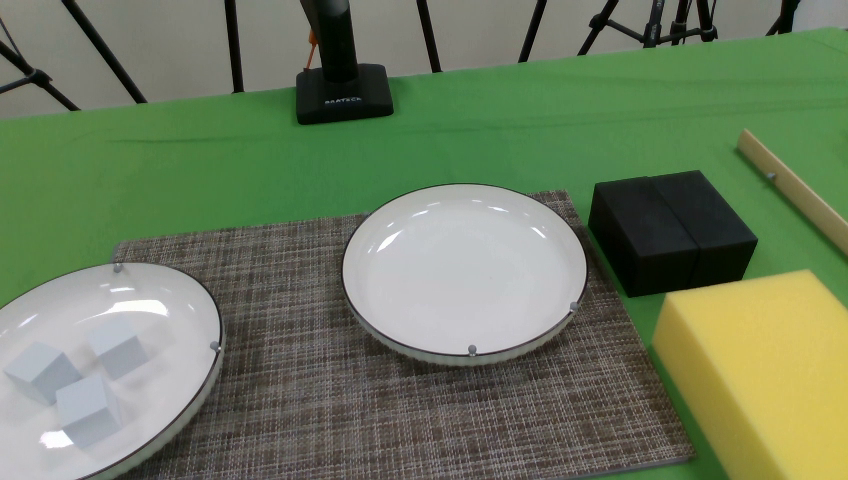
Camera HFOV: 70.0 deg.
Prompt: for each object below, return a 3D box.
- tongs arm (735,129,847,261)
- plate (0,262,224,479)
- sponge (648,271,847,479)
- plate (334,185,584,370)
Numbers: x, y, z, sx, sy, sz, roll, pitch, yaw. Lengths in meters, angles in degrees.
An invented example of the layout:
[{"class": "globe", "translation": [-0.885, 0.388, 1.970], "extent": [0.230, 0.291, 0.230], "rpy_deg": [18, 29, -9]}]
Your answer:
[{"class": "tongs arm", "translation": [0.393, 0.013, 0.532], "extent": [0.028, 0.028, 0.383], "rpy_deg": [-9, 43, -10]}, {"class": "plate", "translation": [-0.255, 0.101, 0.459], "extent": [0.209, 0.038, 0.207], "rpy_deg": [-1, 42, 2]}, {"class": "sponge", "translation": [0.254, 0.120, 0.400], "extent": [0.118, 0.061, 0.204], "rpy_deg": [-10, 43, -7]}, {"class": "plate", "translation": [0.029, 0.030, 0.521], "extent": [0.207, 0.039, 0.205], "rpy_deg": [-1, 43, 2]}]
